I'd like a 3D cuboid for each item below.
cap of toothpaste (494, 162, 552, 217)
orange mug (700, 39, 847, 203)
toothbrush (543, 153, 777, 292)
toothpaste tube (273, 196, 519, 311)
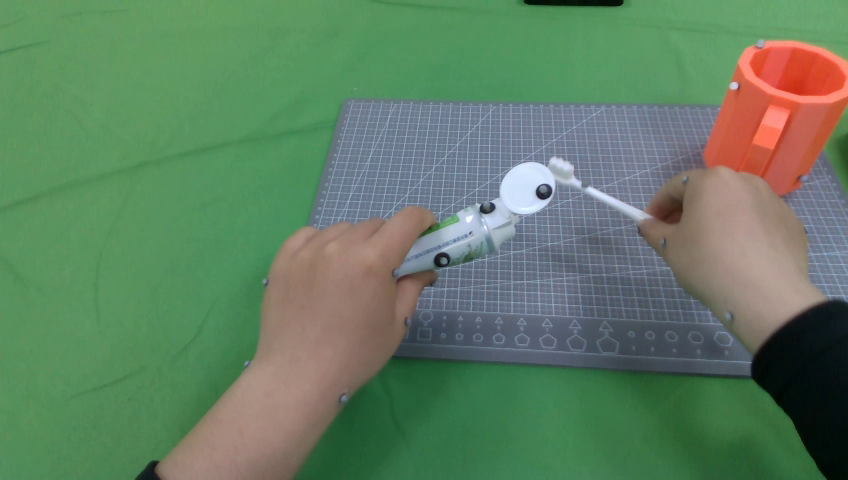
[{"bbox_3d":[0.062,-0.030,0.373,0.037,0.011,0.037,-11,65,25],"label":"cap of toothpaste"},{"bbox_3d":[0.279,-0.091,0.491,0.083,0.102,0.126,25,50,23],"label":"orange mug"},{"bbox_3d":[0.161,-0.016,0.431,0.180,0.017,0.014,34,52,25],"label":"toothbrush"},{"bbox_3d":[-0.015,0.013,0.393,0.165,0.055,0.034,-23,82,2],"label":"toothpaste tube"}]
